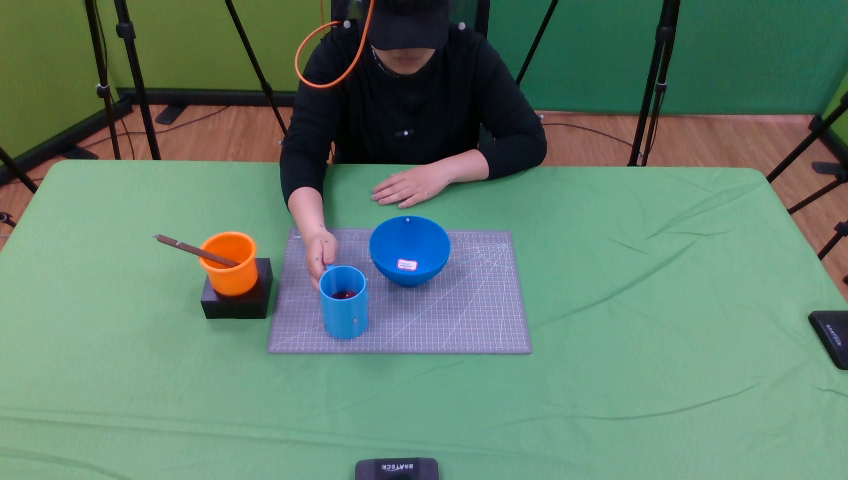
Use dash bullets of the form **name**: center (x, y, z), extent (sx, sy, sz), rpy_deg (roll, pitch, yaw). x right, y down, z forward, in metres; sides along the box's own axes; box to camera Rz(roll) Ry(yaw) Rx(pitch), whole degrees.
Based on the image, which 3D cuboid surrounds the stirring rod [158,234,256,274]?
- **stirring rod**: center (-0.353, 0.025, 0.999), extent (0.177, 0.006, 0.014), rpy_deg (27, 30, -40)

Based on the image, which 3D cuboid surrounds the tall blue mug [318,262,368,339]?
- **tall blue mug**: center (-0.148, 0.098, 1.028), extent (0.107, 0.108, 0.077), rpy_deg (29, 52, 22)

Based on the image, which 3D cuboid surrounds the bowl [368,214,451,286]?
- **bowl**: center (-0.028, 0.031, 1.122), extent (0.151, 0.077, 0.150), rpy_deg (2, 46, -2)
